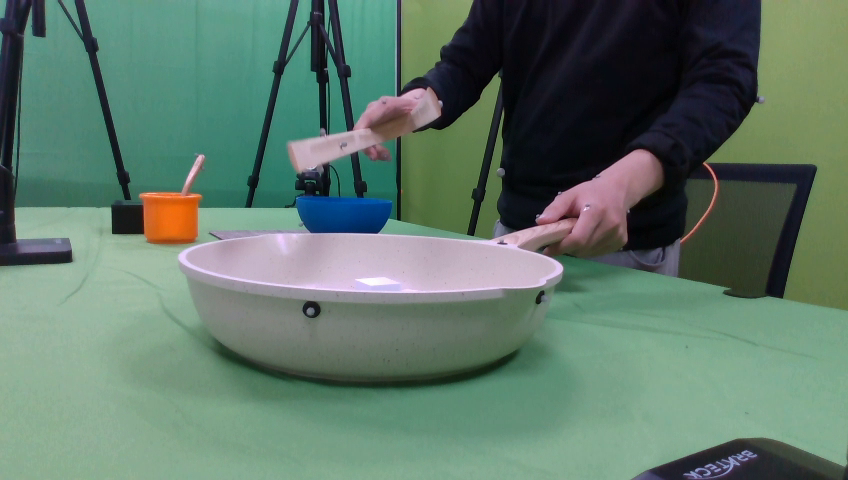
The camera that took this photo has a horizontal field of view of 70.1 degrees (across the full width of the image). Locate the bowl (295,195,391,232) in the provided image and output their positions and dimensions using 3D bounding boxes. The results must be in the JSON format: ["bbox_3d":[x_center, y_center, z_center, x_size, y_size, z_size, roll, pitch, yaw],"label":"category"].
[{"bbox_3d":[-0.127,-0.027,0.946,0.151,0.077,0.151,2,7,0],"label":"bowl"}]

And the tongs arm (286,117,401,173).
[{"bbox_3d":[-0.074,-0.115,0.683,0.051,0.026,0.385,-21,10,9],"label":"tongs arm"}]

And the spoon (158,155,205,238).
[{"bbox_3d":[-0.392,-0.076,0.998,0.041,0.193,0.021,2,-36,5],"label":"spoon"}]

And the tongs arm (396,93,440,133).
[{"bbox_3d":[-0.009,-0.138,0.677,0.028,0.028,0.387,-26,10,0],"label":"tongs arm"}]

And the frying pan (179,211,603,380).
[{"bbox_3d":[0.035,0.019,0.556,0.490,0.102,0.305,-16,18,-42],"label":"frying pan"}]
